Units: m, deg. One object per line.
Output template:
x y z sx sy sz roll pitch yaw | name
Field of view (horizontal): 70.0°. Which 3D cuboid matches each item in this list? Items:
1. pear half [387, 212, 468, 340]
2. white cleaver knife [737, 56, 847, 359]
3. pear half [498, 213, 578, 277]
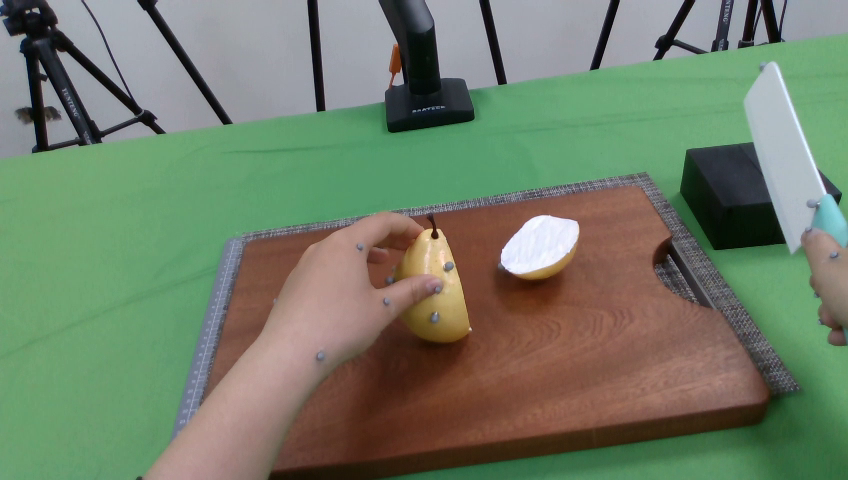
-0.002 0.026 0.455 0.056 0.111 0.075 -18 36 -9 | pear half
0.284 -0.027 0.456 0.021 0.066 0.284 2 56 4 | white cleaver knife
0.100 0.008 0.520 0.070 0.031 0.087 -15 23 17 | pear half
